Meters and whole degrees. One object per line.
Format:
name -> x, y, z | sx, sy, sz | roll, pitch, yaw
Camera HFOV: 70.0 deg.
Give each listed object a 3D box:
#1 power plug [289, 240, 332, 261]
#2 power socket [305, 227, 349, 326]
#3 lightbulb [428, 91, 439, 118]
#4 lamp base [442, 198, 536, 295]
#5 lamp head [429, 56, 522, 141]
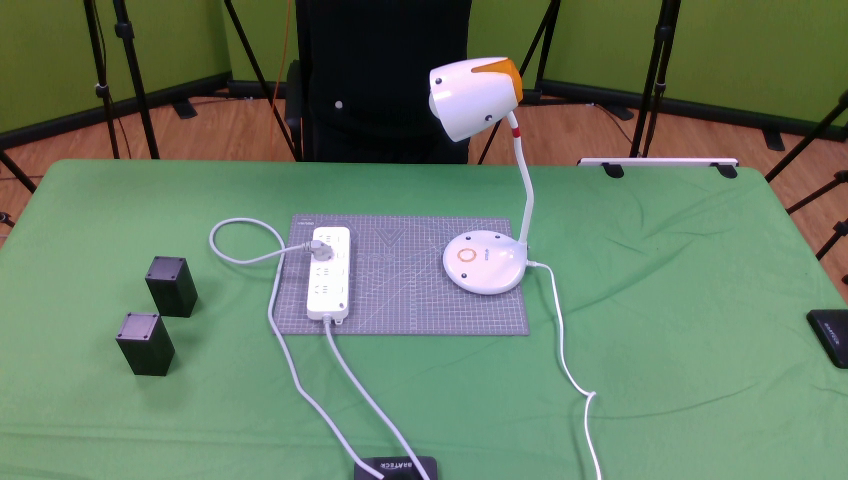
power plug -> -0.208, 0.022, 1.123 | 0.072, 0.053, 0.035 | 5, 44, 5
power socket -> -0.177, 0.058, 1.115 | 0.072, 0.033, 0.225 | -1, 46, -4
lightbulb -> 0.057, -0.213, 0.888 | 0.107, 0.060, 0.059 | -12, 40, 24
lamp base -> 0.131, -0.013, 1.106 | 0.179, 0.181, 0.159 | 0, 46, -8
lamp head -> 0.082, -0.212, 0.882 | 0.123, 0.113, 0.111 | -13, 44, 14
